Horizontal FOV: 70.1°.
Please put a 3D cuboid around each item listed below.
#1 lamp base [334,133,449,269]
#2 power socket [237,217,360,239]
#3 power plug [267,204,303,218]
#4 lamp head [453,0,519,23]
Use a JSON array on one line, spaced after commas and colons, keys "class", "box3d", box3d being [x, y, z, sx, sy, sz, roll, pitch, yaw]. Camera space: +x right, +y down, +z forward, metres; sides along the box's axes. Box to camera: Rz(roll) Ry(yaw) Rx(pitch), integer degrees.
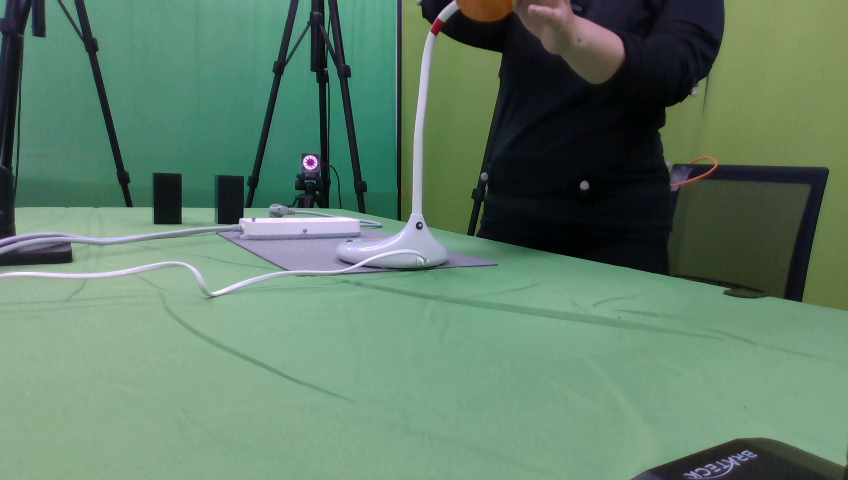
[{"class": "lamp base", "box3d": [-0.034, -0.057, 0.831, 0.161, 0.180, 0.178, -3, 12, -36]}, {"class": "power socket", "box3d": [-0.221, -0.023, 1.080, 0.228, 0.032, 0.072, -2, 8, -33]}, {"class": "power plug", "box3d": [-0.327, -0.059, 1.404, 0.073, 0.035, 0.052, 22, -14, -26]}, {"class": "lamp head", "box3d": [0.072, -0.319, 0.705, 0.112, 0.122, 0.112, 8, -3, 1]}]
